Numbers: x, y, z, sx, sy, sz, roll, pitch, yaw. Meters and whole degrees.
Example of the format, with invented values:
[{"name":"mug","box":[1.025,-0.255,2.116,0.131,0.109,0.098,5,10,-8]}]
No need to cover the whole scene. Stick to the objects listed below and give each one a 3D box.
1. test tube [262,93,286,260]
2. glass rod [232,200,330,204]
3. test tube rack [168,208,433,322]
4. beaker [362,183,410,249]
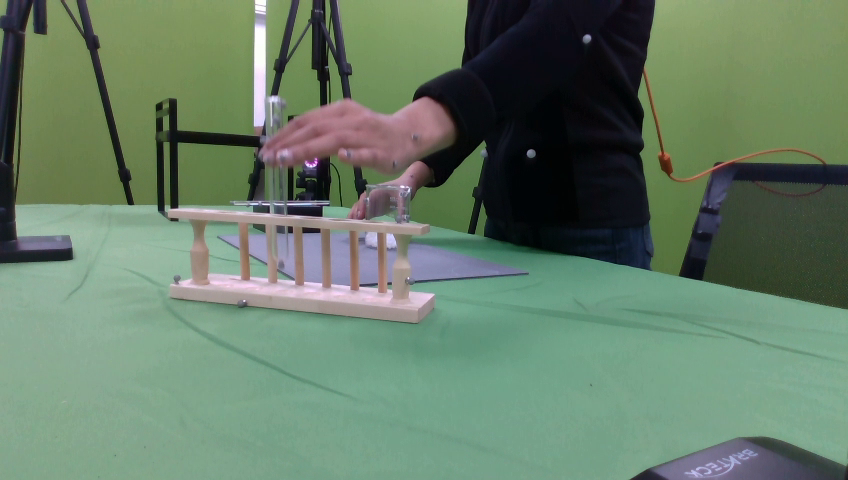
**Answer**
[{"name":"test tube","box":[-0.136,-0.056,0.549,0.017,0.150,0.017,0,8,0]},{"name":"glass rod","box":[-0.266,-0.071,1.146,0.201,0.008,0.008,-4,9,-40]},{"name":"test tube rack","box":[-0.115,0.018,0.573,0.242,0.085,0.067,4,8,13]},{"name":"beaker","box":[-0.058,-0.039,0.956,0.083,0.100,0.074,9,11,41]}]
